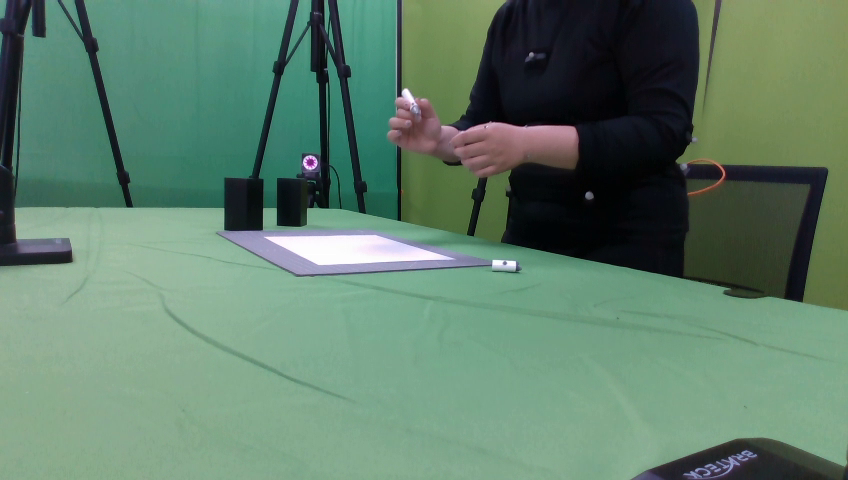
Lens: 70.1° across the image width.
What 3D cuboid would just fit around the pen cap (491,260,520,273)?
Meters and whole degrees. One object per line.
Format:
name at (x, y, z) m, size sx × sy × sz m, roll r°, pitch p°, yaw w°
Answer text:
pen cap at (0.110, 0.036, 0.813) m, size 0.038 × 0.017 × 0.017 m, roll 3°, pitch 7°, yaw 7°

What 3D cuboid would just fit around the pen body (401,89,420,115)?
pen body at (-0.023, -0.247, 1.092) m, size 0.017 × 0.017 × 0.143 m, roll 1°, pitch 28°, yaw -12°
